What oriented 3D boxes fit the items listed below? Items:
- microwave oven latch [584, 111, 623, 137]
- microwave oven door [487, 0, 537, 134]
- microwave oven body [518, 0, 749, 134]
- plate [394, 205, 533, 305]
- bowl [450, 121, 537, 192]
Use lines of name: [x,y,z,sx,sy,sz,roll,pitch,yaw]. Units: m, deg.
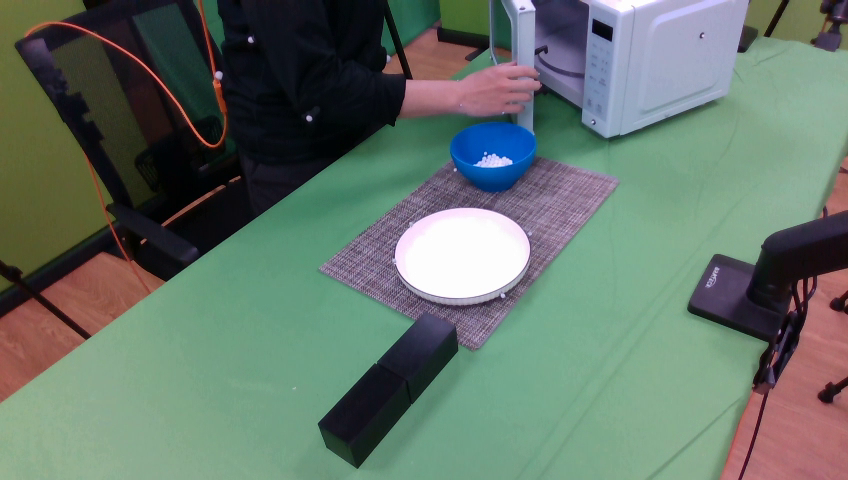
microwave oven latch: [0.337,-0.222,1.142,0.030,0.029,0.078,-21,42,-14]
microwave oven door: [0.173,-0.406,1.222,0.039,0.245,0.353,-8,41,1]
microwave oven body: [0.382,-0.444,1.246,0.327,0.261,0.437,-22,42,-16]
plate: [0.059,0.025,0.915,0.207,0.039,0.206,-4,41,4]
bowl: [0.123,-0.138,1.064,0.151,0.077,0.150,-4,40,4]
